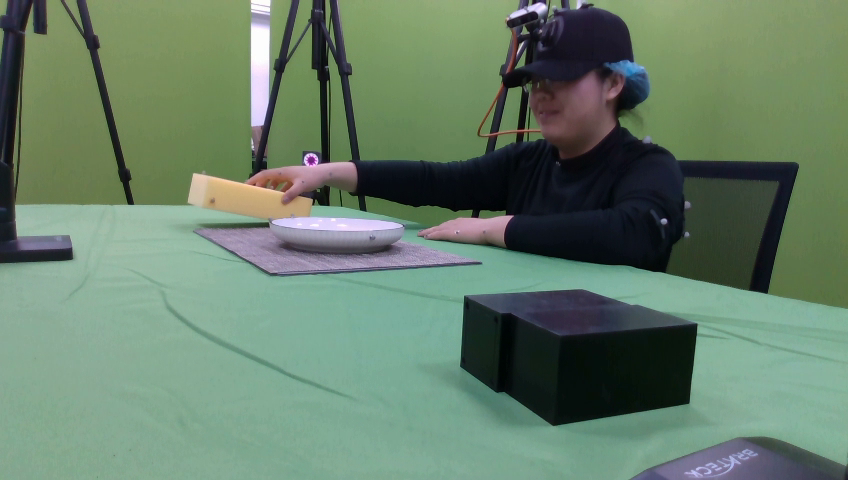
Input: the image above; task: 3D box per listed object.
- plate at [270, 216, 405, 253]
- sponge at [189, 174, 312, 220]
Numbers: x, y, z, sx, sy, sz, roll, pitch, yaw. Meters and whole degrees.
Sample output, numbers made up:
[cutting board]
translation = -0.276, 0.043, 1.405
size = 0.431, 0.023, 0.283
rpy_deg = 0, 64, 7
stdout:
[plate]
translation = -0.134, -0.009, 0.946
size = 0.208, 0.039, 0.207
rpy_deg = 3, 7, 0
[sponge]
translation = -0.342, -0.078, 1.194
size = 0.208, 0.061, 0.117
rpy_deg = 10, 2, -35
